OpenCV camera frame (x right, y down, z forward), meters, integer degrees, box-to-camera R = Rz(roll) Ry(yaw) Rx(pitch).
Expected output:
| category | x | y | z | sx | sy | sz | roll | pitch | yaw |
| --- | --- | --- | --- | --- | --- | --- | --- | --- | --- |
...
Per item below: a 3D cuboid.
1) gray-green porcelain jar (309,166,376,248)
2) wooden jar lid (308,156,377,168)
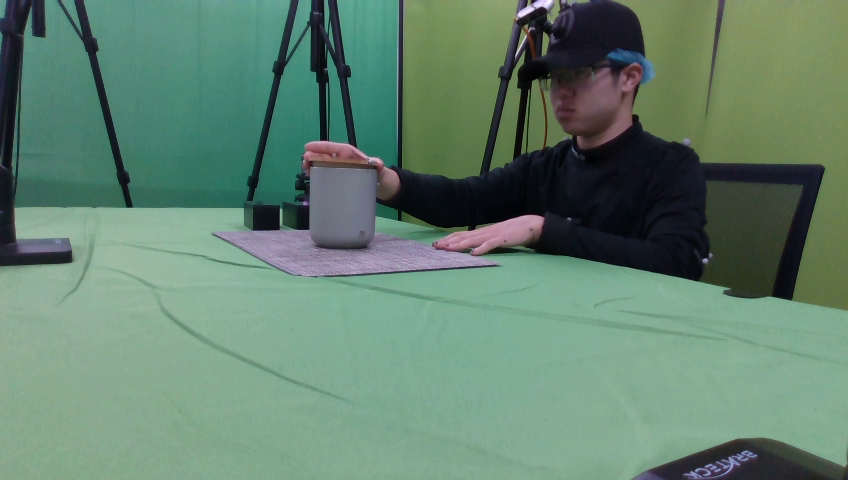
| category | x | y | z | sx | sy | sz | roll | pitch | yaw |
| --- | --- | --- | --- | --- | --- | --- | --- | --- | --- |
| gray-green porcelain jar | -0.131 | -0.054 | 0.966 | 0.106 | 0.126 | 0.106 | 2 | 7 | 0 |
| wooden jar lid | -0.128 | -0.120 | 0.956 | 0.108 | 0.020 | 0.108 | 5 | 5 | 0 |
